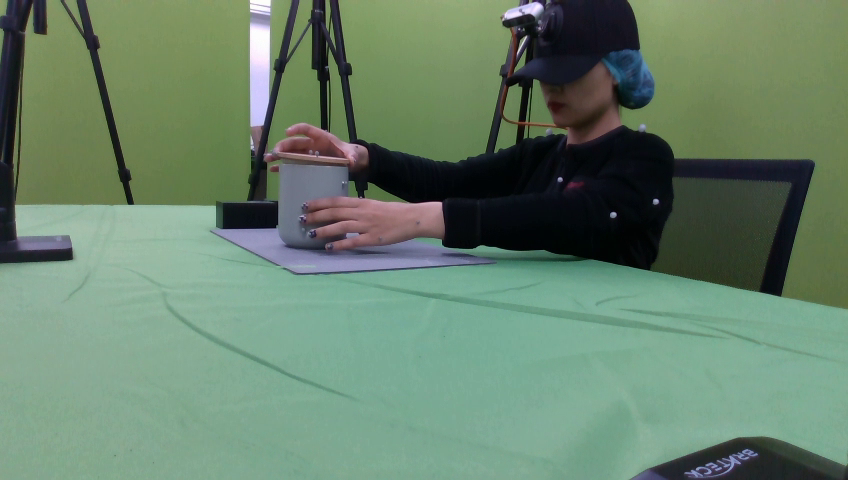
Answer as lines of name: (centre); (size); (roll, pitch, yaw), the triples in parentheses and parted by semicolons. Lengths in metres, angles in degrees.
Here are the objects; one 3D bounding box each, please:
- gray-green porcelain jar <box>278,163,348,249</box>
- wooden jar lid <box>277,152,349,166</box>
gray-green porcelain jar: (-0.171, -0.053, 0.934); (0.106, 0.126, 0.106); (2, 7, 0)
wooden jar lid: (-0.169, -0.120, 0.924); (0.108, 0.020, 0.108); (5, 9, -1)
